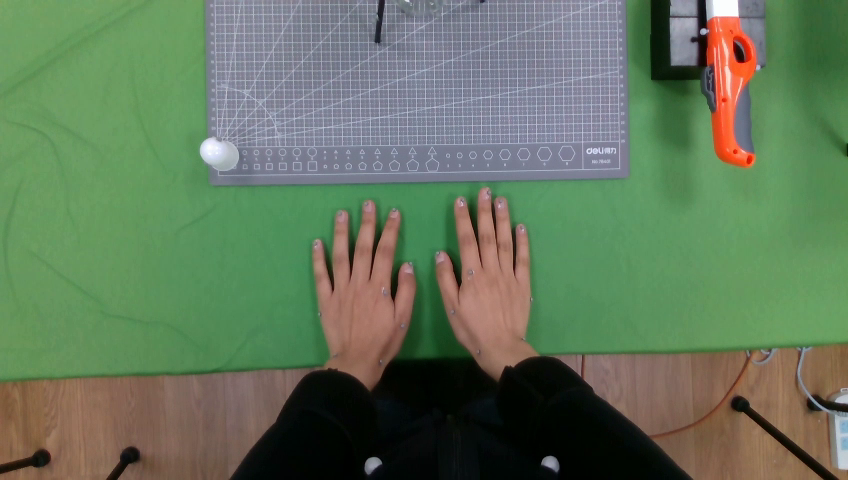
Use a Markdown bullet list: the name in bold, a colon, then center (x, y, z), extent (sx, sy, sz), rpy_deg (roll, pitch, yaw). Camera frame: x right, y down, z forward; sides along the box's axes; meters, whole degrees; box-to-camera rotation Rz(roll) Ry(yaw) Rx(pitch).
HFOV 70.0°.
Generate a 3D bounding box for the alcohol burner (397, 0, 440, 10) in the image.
- **alcohol burner**: center (-0.006, -0.274, 0.592), extent (0.078, 0.119, 0.078), rpy_deg (0, 91, 0)

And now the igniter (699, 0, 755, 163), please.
- **igniter**: center (0.300, -0.214, 0.604), extent (0.057, 0.025, 0.276), rpy_deg (-3, 88, -6)

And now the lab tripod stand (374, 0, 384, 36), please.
- **lab tripod stand**: center (-0.009, -0.278, 0.582), extent (0.148, 0.131, 0.148), rpy_deg (0, 90, 0)

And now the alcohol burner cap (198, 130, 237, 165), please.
- **alcohol burner cap**: center (-0.214, -0.096, 0.619), extent (0.034, 0.048, 0.034), rpy_deg (0, 88, -3)
